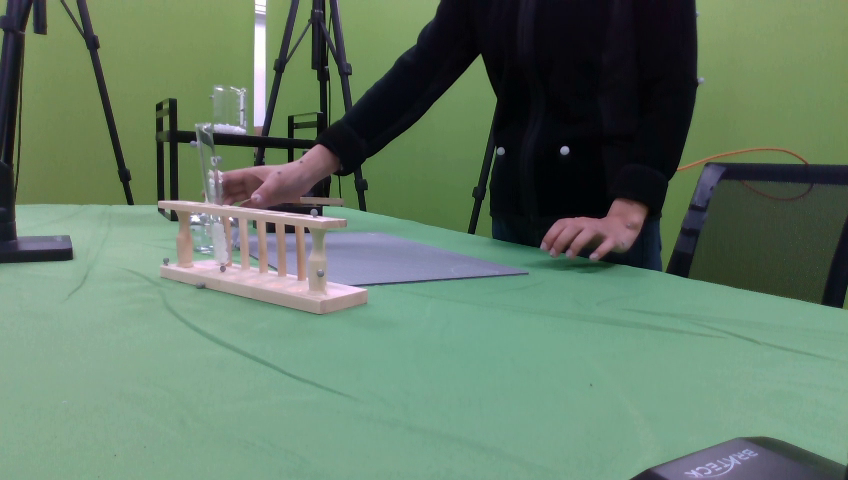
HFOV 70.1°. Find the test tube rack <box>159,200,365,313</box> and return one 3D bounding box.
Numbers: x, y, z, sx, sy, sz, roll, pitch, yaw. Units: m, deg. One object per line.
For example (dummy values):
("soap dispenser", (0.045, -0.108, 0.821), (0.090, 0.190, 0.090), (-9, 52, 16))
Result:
("test tube rack", (-0.173, 0.008, 0.625), (0.241, 0.085, 0.067), (7, 9, 34))

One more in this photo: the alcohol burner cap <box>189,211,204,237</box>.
("alcohol burner cap", (-0.389, -0.029, 1.026), (0.034, 0.048, 0.034), (2, 9, 0))

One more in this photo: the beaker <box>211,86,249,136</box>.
("beaker", (-0.413, -0.274, 1.297), (0.074, 0.100, 0.083), (-5, 11, -44))

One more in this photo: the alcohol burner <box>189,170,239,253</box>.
("alcohol burner", (-0.303, -0.042, 0.871), (0.078, 0.119, 0.078), (2, 6, 0))

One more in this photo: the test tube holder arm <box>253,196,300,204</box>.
("test tube holder arm", (-0.276, -0.076, 1.135), (0.088, 0.015, 0.010), (-1, 7, -32))

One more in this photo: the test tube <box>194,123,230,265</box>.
("test tube", (-0.218, -0.045, 0.624), (0.017, 0.150, 0.017), (-2, 19, 1))

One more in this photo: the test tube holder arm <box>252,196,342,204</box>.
("test tube holder arm", (-0.241, -0.077, 1.164), (0.179, 0.015, 0.013), (-2, 7, -33))
